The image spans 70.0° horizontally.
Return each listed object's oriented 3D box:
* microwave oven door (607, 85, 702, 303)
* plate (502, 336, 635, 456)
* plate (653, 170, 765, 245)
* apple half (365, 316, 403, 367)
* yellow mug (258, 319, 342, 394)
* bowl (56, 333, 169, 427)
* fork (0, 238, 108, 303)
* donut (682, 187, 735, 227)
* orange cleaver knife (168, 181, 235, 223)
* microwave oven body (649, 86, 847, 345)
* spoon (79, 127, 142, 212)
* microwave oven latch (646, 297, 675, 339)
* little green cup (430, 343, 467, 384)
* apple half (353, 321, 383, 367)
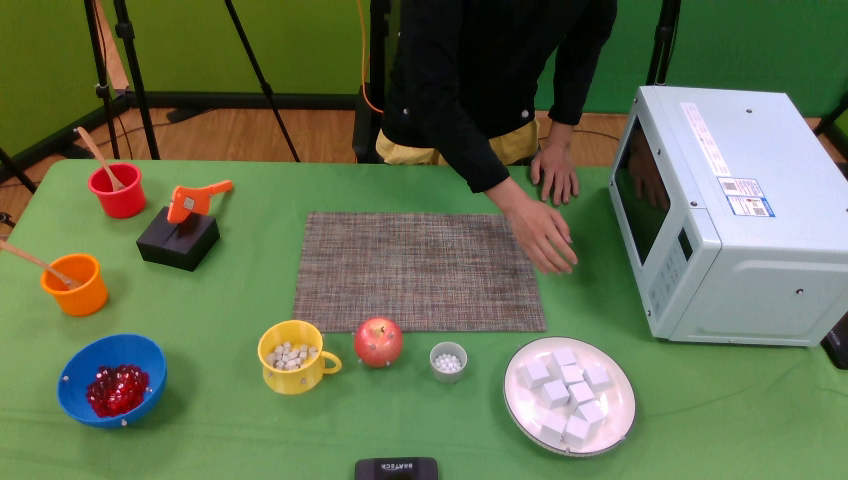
[{"bbox_3d":[0.423,-0.094,1.140,0.039,0.245,0.353,2,46,-1],"label":"microwave oven door"},{"bbox_3d":[0.225,0.248,0.963,0.208,0.039,0.206,2,46,-2],"label":"plate"},{"bbox_3d":[0.556,-0.060,1.195,0.209,0.038,0.208,1,45,-1],"label":"plate"},{"bbox_3d":[-0.063,0.165,1.000,0.053,0.075,0.080,-16,45,-24],"label":"apple half"},{"bbox_3d":[-0.195,0.188,0.972,0.131,0.064,0.099,9,47,4],"label":"yellow mug"},{"bbox_3d":[-0.456,0.223,0.911,0.151,0.077,0.150,3,45,-2],"label":"bowl"},{"bbox_3d":[-0.633,0.048,1.017,0.208,0.018,0.028,40,43,-27],"label":"fork"},{"bbox_3d":[0.554,-0.067,1.184,0.099,0.048,0.098,3,45,-2],"label":"donut"},{"bbox_3d":[-0.436,-0.078,1.196,0.012,0.077,0.211,16,15,10],"label":"orange cleaver knife"},{"bbox_3d":[0.567,-0.053,1.118,0.326,0.261,0.439,2,45,-1],"label":"microwave oven body"},{"bbox_3d":[-0.624,-0.140,1.203,0.041,0.021,0.194,-33,101,-26],"label":"spoon"},{"bbox_3d":[0.412,0.134,1.061,0.030,0.029,0.078,4,45,1],"label":"microwave oven latch"},{"bbox_3d":[0.039,0.203,0.994,0.061,0.039,0.061,2,46,-2],"label":"little green cup"},{"bbox_3d":[-0.097,0.177,0.984,0.033,0.081,0.081,-16,49,-25],"label":"apple half"}]
